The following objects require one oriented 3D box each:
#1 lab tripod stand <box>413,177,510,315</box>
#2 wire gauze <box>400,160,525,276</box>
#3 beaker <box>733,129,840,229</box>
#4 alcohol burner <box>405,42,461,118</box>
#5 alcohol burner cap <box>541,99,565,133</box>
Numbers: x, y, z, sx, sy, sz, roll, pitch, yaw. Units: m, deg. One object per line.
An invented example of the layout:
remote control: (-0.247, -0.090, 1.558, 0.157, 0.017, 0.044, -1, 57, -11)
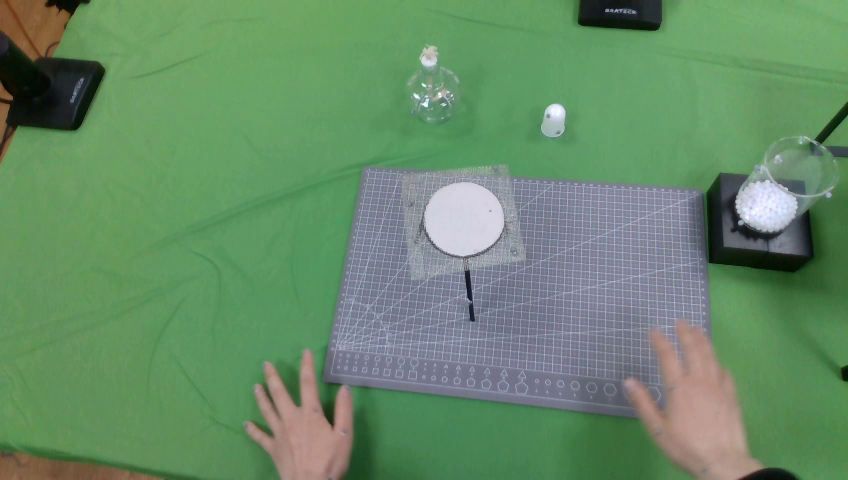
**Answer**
lab tripod stand: (0.048, 0.000, 0.705, 0.148, 0.132, 0.147, -1, 68, 2)
wire gauze: (0.039, -0.028, 0.645, 0.121, 0.011, 0.124, -7, 68, 0)
beaker: (0.396, -0.065, 0.674, 0.074, 0.101, 0.083, 15, 68, 11)
alcohol burner: (0.010, -0.220, 0.816, 0.078, 0.120, 0.077, -2, 65, 5)
alcohol burner cap: (0.177, -0.171, 0.822, 0.034, 0.048, 0.033, -3, 67, 6)
